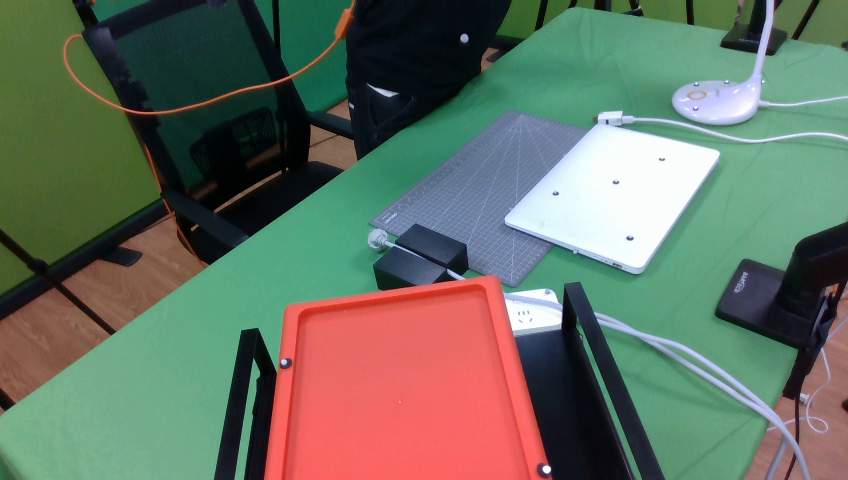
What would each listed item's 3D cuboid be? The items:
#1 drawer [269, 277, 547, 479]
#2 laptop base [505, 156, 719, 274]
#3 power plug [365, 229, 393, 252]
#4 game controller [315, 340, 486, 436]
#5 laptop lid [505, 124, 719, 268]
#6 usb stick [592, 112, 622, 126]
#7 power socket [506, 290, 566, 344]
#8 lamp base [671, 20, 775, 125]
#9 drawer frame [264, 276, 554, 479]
[{"bbox_3d":[-0.018,0.137,0.493,0.195,0.073,0.210,-7,41,-1],"label":"drawer"},{"bbox_3d":[0.326,-0.083,1.028,0.233,0.023,0.355,21,48,32],"label":"laptop base"},{"bbox_3d":[-0.068,0.010,0.954,0.035,0.053,0.072,-39,52,2],"label":"power plug"},{"bbox_3d":[-0.021,0.119,0.534,0.155,0.052,0.096,-3,39,1],"label":"game controller"},{"bbox_3d":[0.323,-0.093,1.021,0.240,0.013,0.358,23,49,32],"label":"laptop lid"},{"bbox_3d":[0.361,-0.239,1.196,0.059,0.021,0.027,4,42,27],"label":"usb stick"},{"bbox_3d":[0.081,0.112,0.822,0.227,0.033,0.072,-7,40,0],"label":"power socket"},{"bbox_3d":[0.582,-0.332,1.153,0.179,0.181,0.160,2,41,7],"label":"lamp base"},{"bbox_3d":[-0.016,0.137,0.490,0.202,0.083,0.212,-8,41,-2],"label":"drawer frame"}]
